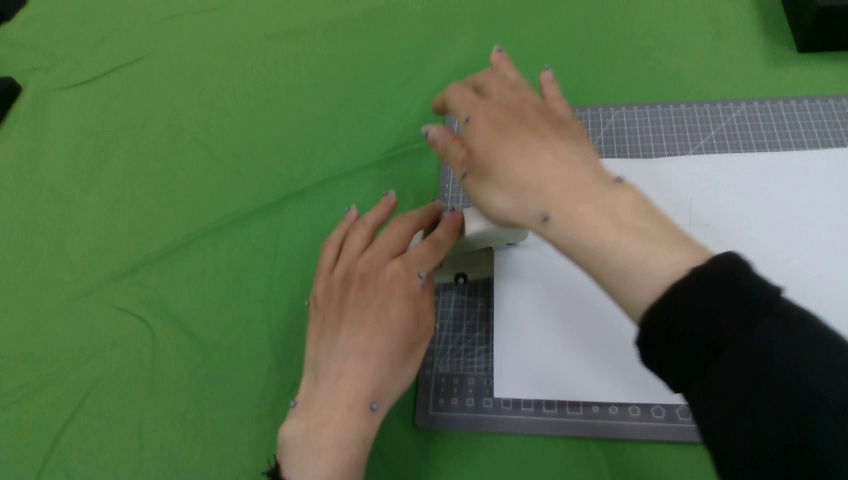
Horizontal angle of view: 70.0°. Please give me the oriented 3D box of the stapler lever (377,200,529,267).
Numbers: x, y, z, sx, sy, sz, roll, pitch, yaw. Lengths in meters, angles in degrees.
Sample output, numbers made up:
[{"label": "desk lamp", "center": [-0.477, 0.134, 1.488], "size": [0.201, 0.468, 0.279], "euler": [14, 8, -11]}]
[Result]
[{"label": "stapler lever", "center": [0.019, -0.004, 0.453], "size": [0.118, 0.040, 0.026], "euler": [-7, 53, 8]}]

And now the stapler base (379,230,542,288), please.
[{"label": "stapler base", "center": [0.025, 0.010, 0.474], "size": [0.130, 0.025, 0.041], "euler": [-7, 53, 8]}]
